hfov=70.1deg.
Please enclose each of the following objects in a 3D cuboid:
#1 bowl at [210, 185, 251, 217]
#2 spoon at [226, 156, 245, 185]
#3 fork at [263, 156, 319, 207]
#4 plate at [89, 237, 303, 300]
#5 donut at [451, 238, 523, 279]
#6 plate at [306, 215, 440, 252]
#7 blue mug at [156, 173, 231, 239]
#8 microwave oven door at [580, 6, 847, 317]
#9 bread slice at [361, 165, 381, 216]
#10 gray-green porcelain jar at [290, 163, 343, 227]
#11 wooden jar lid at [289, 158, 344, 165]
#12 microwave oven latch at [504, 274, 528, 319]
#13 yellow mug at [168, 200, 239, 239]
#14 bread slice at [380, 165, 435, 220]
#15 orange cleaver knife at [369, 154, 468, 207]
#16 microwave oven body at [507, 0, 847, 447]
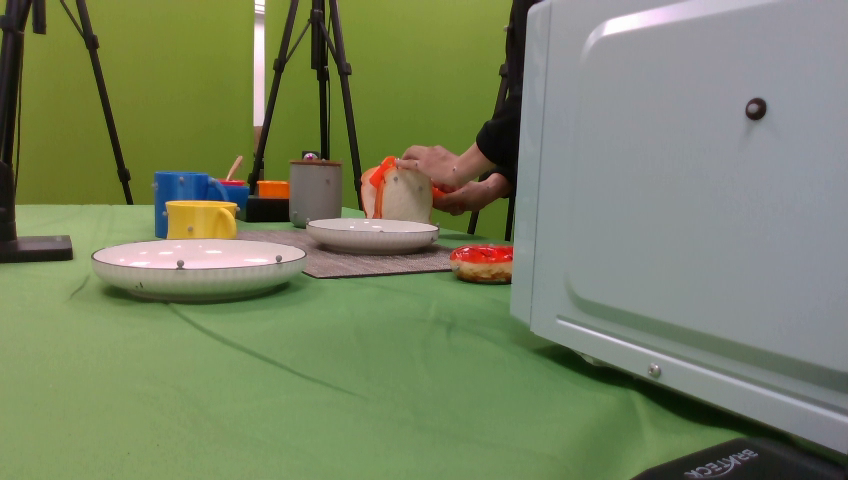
[{"bbox_3d":[-0.408,-0.064,1.155,0.151,0.077,0.151,2,8,0],"label":"bowl"},{"bbox_3d":[-0.477,-0.145,1.492,0.041,0.022,0.193,0,51,12],"label":"spoon"},{"bbox_3d":[-0.331,-0.144,1.505,0.207,0.018,0.028,-42,-21,22],"label":"fork"},{"bbox_3d":[-0.233,0.029,0.637,0.208,0.039,0.207,2,7,0],"label":"plate"},{"bbox_3d":[0.083,0.022,0.745,0.099,0.048,0.099,1,5,0],"label":"donut"},{"bbox_3d":[-0.079,-0.011,0.950,0.209,0.038,0.209,2,8,0],"label":"plate"},{"bbox_3d":[-0.381,-0.057,1.004,0.117,0.106,0.082,1,8,-12],"label":"blue mug"},{"bbox_3d":[0.294,-0.067,0.570,0.358,0.243,0.039,-3,9,-31],"label":"microwave oven door"},{"bbox_3d":[-0.072,-0.085,1.183,0.105,0.131,0.019,-7,24,-13],"label":"bread slice"},{"bbox_3d":[-0.217,-0.091,1.221,0.106,0.126,0.106,2,7,0],"label":"gray-green porcelain jar"},{"bbox_3d":[-0.215,-0.152,1.212,0.108,0.020,0.108,2,5,0],"label":"wooden jar lid"},{"bbox_3d":[0.100,0.041,0.471,0.079,0.029,0.030,-1,8,-28],"label":"microwave oven latch"},{"bbox_3d":[-0.319,-0.023,0.904,0.130,0.064,0.100,9,11,36],"label":"yellow mug"},{"bbox_3d":[-0.033,-0.070,1.117,0.107,0.134,0.018,-2,8,-20],"label":"bread slice"},{"bbox_3d":[-0.008,-0.096,1.177,0.212,0.077,0.012,26,0,-27],"label":"orange cleaver knife"},{"bbox_3d":[0.331,-0.042,0.425,0.444,0.260,0.324,-2,8,-31],"label":"microwave oven body"}]
